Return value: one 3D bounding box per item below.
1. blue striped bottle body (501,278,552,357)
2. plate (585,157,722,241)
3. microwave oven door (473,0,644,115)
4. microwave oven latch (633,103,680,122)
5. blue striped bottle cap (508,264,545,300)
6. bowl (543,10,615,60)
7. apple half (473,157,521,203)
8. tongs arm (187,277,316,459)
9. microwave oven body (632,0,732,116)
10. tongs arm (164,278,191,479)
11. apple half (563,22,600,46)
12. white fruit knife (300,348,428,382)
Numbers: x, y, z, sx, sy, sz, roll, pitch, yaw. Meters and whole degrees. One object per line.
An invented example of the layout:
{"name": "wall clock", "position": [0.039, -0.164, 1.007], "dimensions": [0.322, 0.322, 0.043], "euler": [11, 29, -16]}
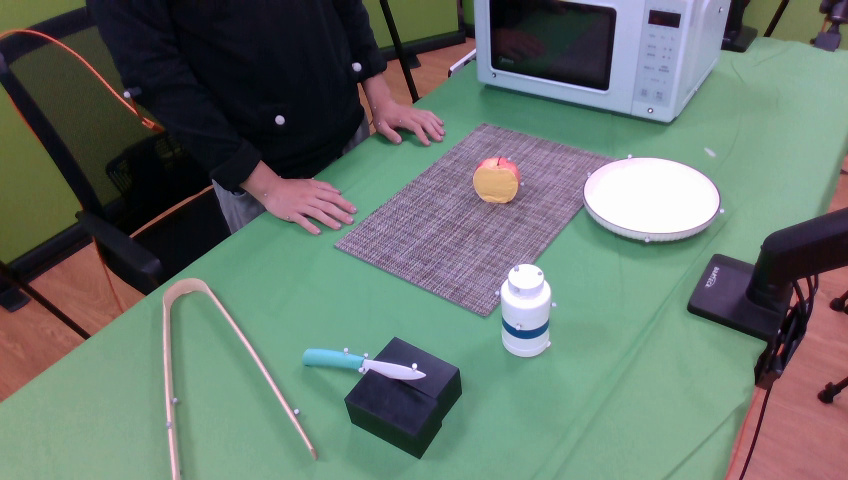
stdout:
{"name": "blue striped bottle body", "position": [0.130, 0.088, 0.769], "dimensions": [0.063, 0.121, 0.063], "euler": [-4, 41, 4]}
{"name": "plate", "position": [0.367, -0.063, 0.979], "dimensions": [0.207, 0.039, 0.206], "euler": [-4, 41, 4]}
{"name": "microwave oven door", "position": [0.257, -0.396, 1.199], "dimensions": [0.353, 0.245, 0.039], "euler": [21, 48, 29]}
{"name": "microwave oven latch", "position": [0.444, -0.249, 1.157], "dimensions": [0.078, 0.029, 0.030], "euler": [21, 48, 30]}
{"name": "blue striped bottle cap", "position": [0.125, 0.051, 0.735], "dimensions": [0.044, 0.021, 0.044], "euler": [-5, 39, 5]}
{"name": "bowl", "position": [0.335, -0.439, 1.306], "dimensions": [0.151, 0.077, 0.151], "euler": [-8, 30, 5]}
{"name": "apple half", "position": [0.128, -0.107, 1.030], "dimensions": [0.080, 0.075, 0.053], "euler": [4, 38, 19]}
{"name": "tongs arm", "position": [-0.241, 0.154, 0.815], "dimensions": [0.028, 0.028, 0.384], "euler": [-31, 46, -21]}
{"name": "microwave oven body", "position": [0.377, -0.462, 1.267], "dimensions": [0.438, 0.261, 0.327], "euler": [21, 48, 30]}
{"name": "tongs arm", "position": [-0.313, 0.182, 0.789], "dimensions": [0.051, 0.026, 0.381], "euler": [-19, 41, -14]}
{"name": "apple half", "position": [0.335, -0.447, 1.299], "dimensions": [0.081, 0.033, 0.081], "euler": [-16, 34, 12]}
{"name": "white fruit knife", "position": [-0.079, 0.154, 0.748], "dimensions": [0.206, 0.027, 0.016], "euler": [1, 20, 34]}
